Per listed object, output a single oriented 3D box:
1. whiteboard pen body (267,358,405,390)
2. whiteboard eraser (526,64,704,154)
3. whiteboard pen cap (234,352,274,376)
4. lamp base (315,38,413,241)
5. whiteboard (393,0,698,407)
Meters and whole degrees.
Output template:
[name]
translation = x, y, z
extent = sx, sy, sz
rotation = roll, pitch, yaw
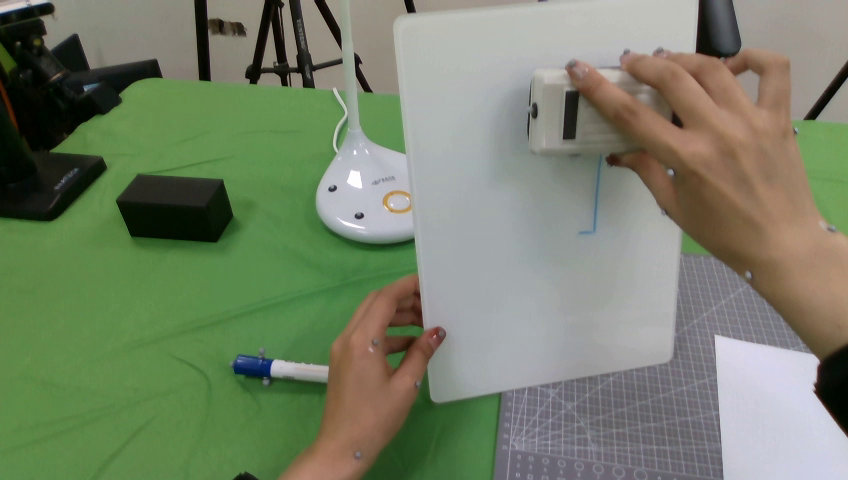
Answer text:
[whiteboard pen body]
translation = -0.086, 0.113, 0.518
extent = 0.141, 0.017, 0.017
rotation = 5, 41, 3
[whiteboard eraser]
translation = 0.126, -0.088, 0.406
extent = 0.113, 0.056, 0.041
rotation = -3, 17, -6
[whiteboard pen cap]
translation = -0.145, 0.107, 0.522
extent = 0.033, 0.018, 0.018
rotation = 7, 41, 1
[lamp base]
translation = -0.056, -0.118, 0.667
extent = 0.161, 0.182, 0.177
rotation = -28, 45, -28
[whiteboard]
translation = 0.089, -0.042, 0.522
extent = 0.217, 0.307, 0.142
rotation = -8, 22, -7
